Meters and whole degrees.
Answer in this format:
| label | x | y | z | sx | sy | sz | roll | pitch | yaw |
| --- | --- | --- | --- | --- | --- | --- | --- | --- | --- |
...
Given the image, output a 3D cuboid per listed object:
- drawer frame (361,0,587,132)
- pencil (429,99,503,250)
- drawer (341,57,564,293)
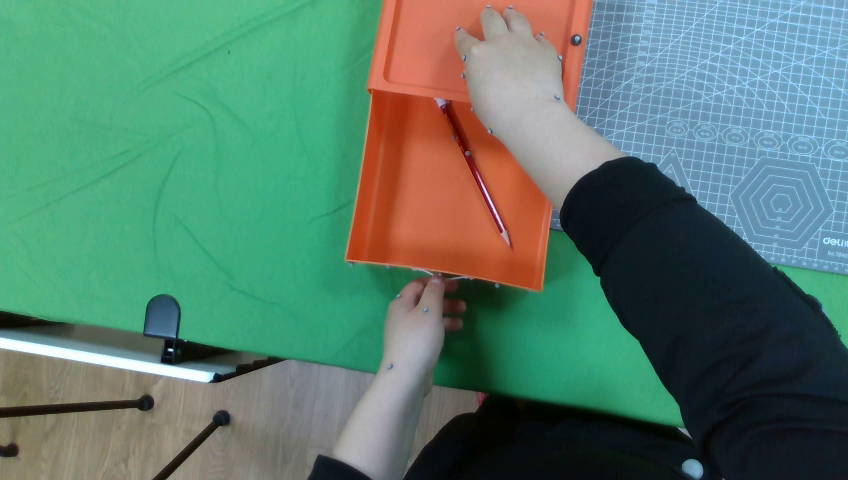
| label | x | y | z | sx | sy | sz | roll | pitch | yaw |
| --- | --- | --- | --- | --- | --- | --- | --- | --- | --- |
| drawer frame | 0.057 | -0.226 | 0.605 | 0.201 | 0.083 | 0.213 | 9 | 88 | 8 |
| pencil | 0.042 | -0.078 | 0.630 | 0.012 | 0.012 | 0.193 | -24 | 86 | 6 |
| drawer | 0.032 | -0.063 | 0.605 | 0.194 | 0.073 | 0.211 | 8 | 91 | 9 |
